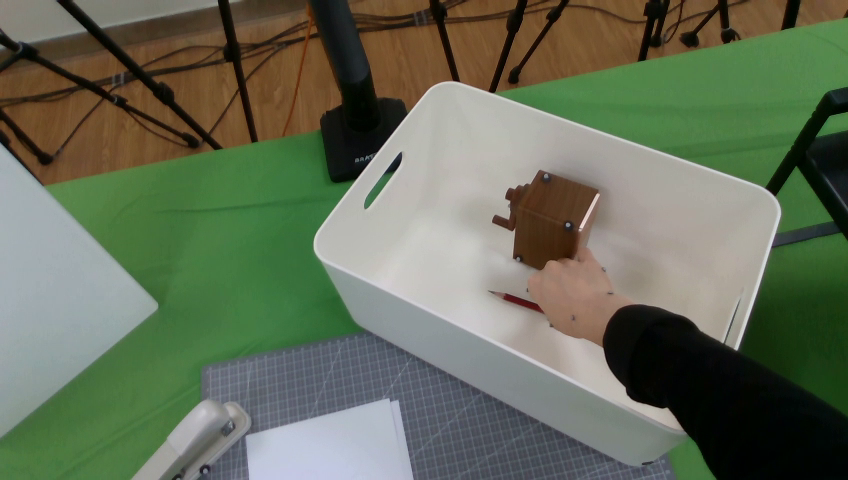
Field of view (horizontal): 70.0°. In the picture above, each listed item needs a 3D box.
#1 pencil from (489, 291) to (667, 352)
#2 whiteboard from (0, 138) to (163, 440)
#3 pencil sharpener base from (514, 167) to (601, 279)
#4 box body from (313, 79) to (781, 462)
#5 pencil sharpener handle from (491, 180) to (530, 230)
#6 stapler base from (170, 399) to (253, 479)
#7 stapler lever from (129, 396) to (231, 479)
[{"bbox_3d":[0.162,0.085,0.653,0.193,0.012,0.012,17,61,16],"label":"pencil"},{"bbox_3d":[-0.471,0.017,0.618,0.217,0.309,0.142,-43,45,-19],"label":"whiteboard"},{"bbox_3d":[0.140,-0.018,0.661,0.076,0.108,0.061,23,62,19],"label":"pencil sharpener base"},{"bbox_3d":[0.114,0.024,0.611,0.362,0.162,0.253,24,63,18],"label":"box body"},{"bbox_3d":[0.093,-0.041,0.664,0.030,0.068,0.036,23,47,19],"label":"pencil sharpener handle"},{"bbox_3d":[-0.233,0.212,0.607,0.041,0.025,0.130,37,72,28],"label":"stapler base"},{"bbox_3d":[-0.238,0.201,0.585,0.026,0.040,0.118,37,71,28],"label":"stapler lever"}]
